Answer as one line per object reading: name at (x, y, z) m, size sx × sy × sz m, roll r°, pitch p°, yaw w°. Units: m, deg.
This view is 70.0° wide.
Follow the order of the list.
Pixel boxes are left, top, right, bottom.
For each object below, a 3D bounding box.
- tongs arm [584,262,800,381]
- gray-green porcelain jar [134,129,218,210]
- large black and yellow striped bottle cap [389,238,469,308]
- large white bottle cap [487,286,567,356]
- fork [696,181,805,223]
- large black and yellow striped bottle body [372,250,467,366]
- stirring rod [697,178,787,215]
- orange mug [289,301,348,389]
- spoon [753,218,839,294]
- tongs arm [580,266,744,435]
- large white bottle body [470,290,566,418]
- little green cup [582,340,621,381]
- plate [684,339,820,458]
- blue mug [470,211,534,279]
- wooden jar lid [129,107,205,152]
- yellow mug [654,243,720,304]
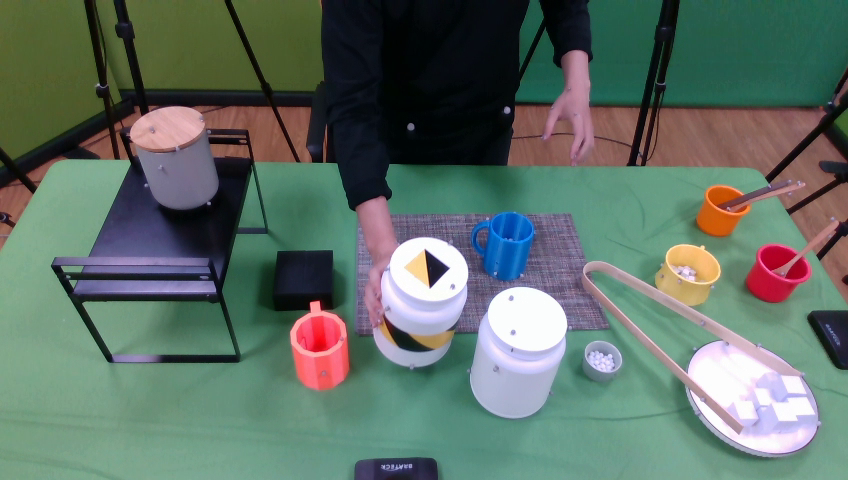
tongs arm at (0.452, 0.137, 1.064) m, size 0.051 × 0.027 × 0.382 m, roll -34°, pitch 50°, yaw -26°
gray-green porcelain jar at (-0.388, -0.120, 0.960) m, size 0.106 × 0.127 × 0.105 m, roll 2°, pitch 46°, yaw -2°
large black and yellow striped bottle cap at (0.007, 0.045, 0.868) m, size 0.115 × 0.019 × 0.114 m, roll 5°, pitch 49°, yaw -6°
large white bottle cap at (0.147, 0.114, 0.869) m, size 0.115 × 0.018 × 0.114 m, roll 3°, pitch 46°, yaw -3°
fork at (0.659, -0.077, 1.232) m, size 0.207 × 0.019 × 0.028 m, roll -26°, pitch 35°, yaw 34°
large black and yellow striped bottle body at (-0.007, 0.097, 0.933) m, size 0.131 × 0.185 × 0.130 m, roll 6°, pitch 50°, yaw -7°
stirring rod at (0.650, -0.088, 1.246) m, size 0.006 × 0.176 × 0.014 m, roll 29°, pitch 50°, yaw -39°
orange mug at (-0.170, 0.162, 0.976) m, size 0.083 × 0.101 × 0.125 m, roll -8°, pitch 52°, yaw -11°
spoon at (0.700, 0.031, 1.138) m, size 0.194 × 0.022 × 0.041 m, roll -47°, pitch 55°, yaw 14°
tongs arm at (0.384, 0.174, 1.029) m, size 0.028 × 0.028 × 0.385 m, roll -25°, pitch 46°, yaw -14°
large white bottle body at (0.143, 0.173, 0.930) m, size 0.131 × 0.185 × 0.130 m, roll 2°, pitch 46°, yaw -2°
little green cup at (0.295, 0.204, 1.015) m, size 0.061 × 0.039 × 0.061 m, roll 2°, pitch 45°, yaw -2°
plate at (0.523, 0.256, 0.982) m, size 0.208 × 0.039 × 0.206 m, roll 2°, pitch 46°, yaw -2°
blue mug at (0.141, 0.005, 1.140) m, size 0.116 × 0.106 × 0.082 m, roll 18°, pitch 48°, yaw 13°
wooden jar lid at (-0.385, -0.163, 0.915) m, size 0.108 × 0.021 × 0.107 m, roll 2°, pitch 47°, yaw -2°
yellow mug at (0.504, 0.054, 1.154) m, size 0.099 × 0.064 × 0.130 m, roll 28°, pitch 50°, yaw 22°
